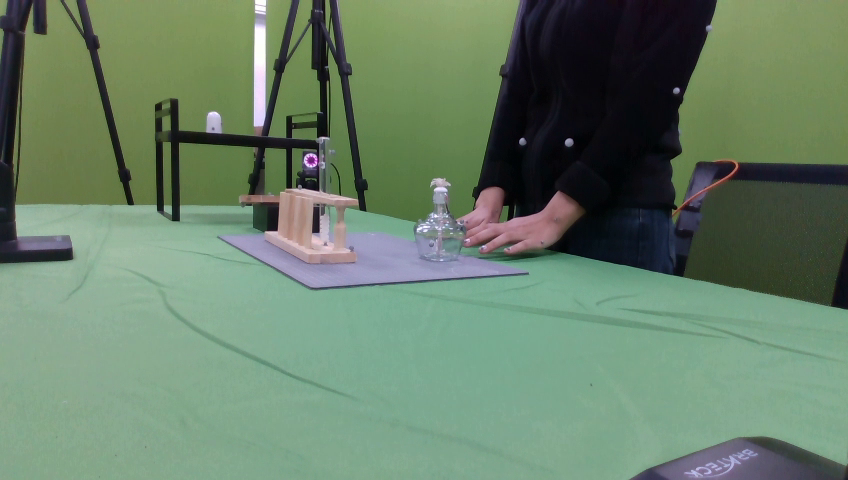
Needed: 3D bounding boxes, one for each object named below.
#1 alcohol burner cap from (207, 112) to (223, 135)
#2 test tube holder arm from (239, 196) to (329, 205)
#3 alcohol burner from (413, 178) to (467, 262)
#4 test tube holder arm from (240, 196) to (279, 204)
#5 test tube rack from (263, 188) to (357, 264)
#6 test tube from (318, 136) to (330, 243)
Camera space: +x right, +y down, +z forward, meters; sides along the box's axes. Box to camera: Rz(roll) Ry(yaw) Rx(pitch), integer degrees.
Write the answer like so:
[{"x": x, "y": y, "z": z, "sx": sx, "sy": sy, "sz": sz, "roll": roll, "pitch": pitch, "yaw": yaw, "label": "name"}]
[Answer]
[{"x": -0.440, "y": -0.245, "z": 1.271, "sx": 0.034, "sy": 0.048, "sz": 0.034, "roll": 1, "pitch": 7, "yaw": 0, "label": "alcohol burner cap"}, {"x": -0.263, "y": -0.076, "z": 1.155, "sx": 0.179, "sy": 0.015, "sz": 0.013, "roll": -1, "pitch": 4, "yaw": -36, "label": "test tube holder arm"}, {"x": 0.023, "y": -0.029, "z": 0.864, "sx": 0.078, "sy": 0.119, "sz": 0.078, "roll": 1, "pitch": 7, "yaw": 0, "label": "alcohol burner"}, {"x": -0.296, "y": -0.075, "z": 1.124, "sx": 0.088, "sy": 0.015, "sz": 0.010, "roll": -1, "pitch": 4, "yaw": -35, "label": "test tube holder arm"}, {"x": -0.175, "y": -0.027, "z": 0.890, "sx": 0.067, "sy": 0.085, "sz": 0.241, "roll": 0, "pitch": 8, "yaw": -28, "label": "test tube rack"}, {"x": -0.142, "y": -0.070, "z": 0.852, "sx": 0.017, "sy": 0.150, "sz": 0.017, "roll": 1, "pitch": 7, "yaw": 0, "label": "test tube"}]
